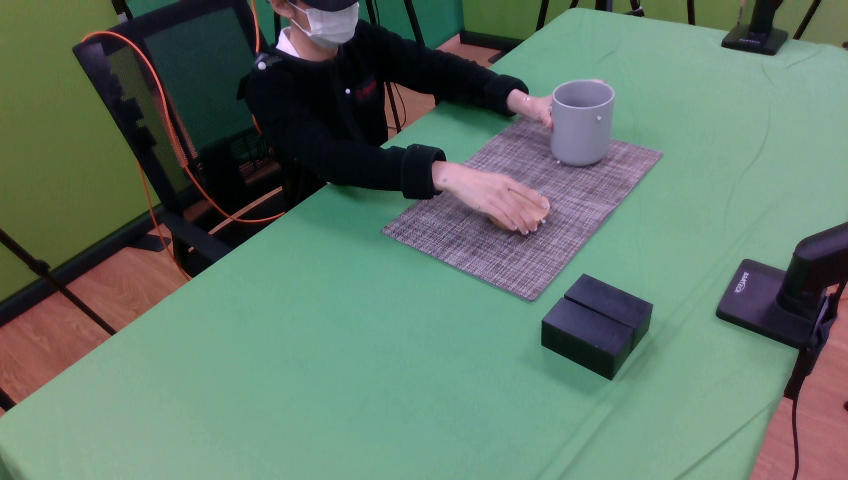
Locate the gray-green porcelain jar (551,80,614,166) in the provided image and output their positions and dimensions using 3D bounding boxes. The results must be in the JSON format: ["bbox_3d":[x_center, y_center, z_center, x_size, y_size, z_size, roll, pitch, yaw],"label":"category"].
[{"bbox_3d":[0.282,-0.205,1.087,0.106,0.127,0.105,-5,40,4],"label":"gray-green porcelain jar"}]

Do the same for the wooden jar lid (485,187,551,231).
[{"bbox_3d":[0.154,-0.051,0.998,0.108,0.021,0.108,0,38,1],"label":"wooden jar lid"}]
